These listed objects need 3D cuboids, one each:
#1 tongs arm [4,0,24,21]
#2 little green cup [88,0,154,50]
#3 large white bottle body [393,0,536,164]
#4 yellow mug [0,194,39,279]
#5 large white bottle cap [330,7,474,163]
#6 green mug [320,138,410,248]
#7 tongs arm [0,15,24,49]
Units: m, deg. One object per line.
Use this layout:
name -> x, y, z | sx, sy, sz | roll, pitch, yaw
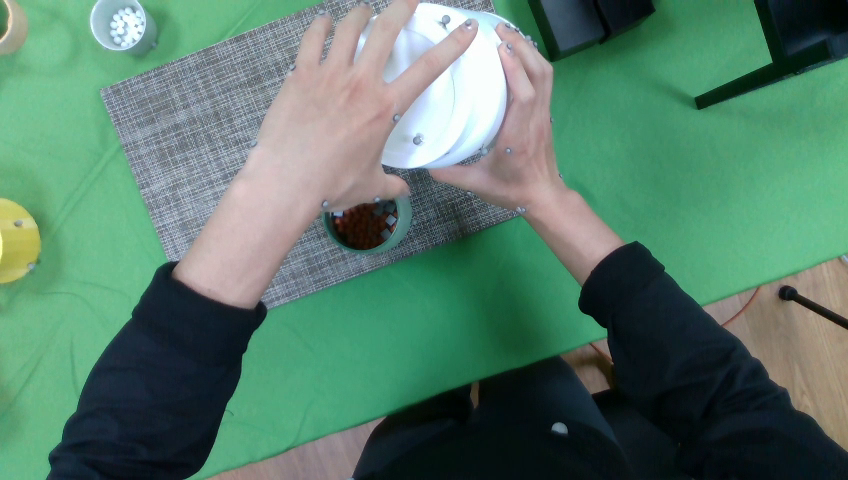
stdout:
tongs arm -> -0.602, -0.317, 0.636 | 0.387, 0.028, 0.028 | 22, 88, 1
little green cup -> -0.332, -0.241, 0.669 | 0.061, 0.038, 0.061 | 0, 95, 0
large white bottle body -> 0.017, -0.140, 0.535 | 0.130, 0.184, 0.131 | 8, 110, 22
yellow mug -> -0.503, 0.013, 0.677 | 0.100, 0.064, 0.131 | 12, 95, -1
large white bottle cap -> -0.018, -0.116, 0.460 | 0.114, 0.018, 0.115 | 8, 111, 22
green mug -> -0.064, -0.051, 0.645 | 0.092, 0.105, 0.125 | -4, 94, 2
tongs arm -> -0.620, -0.236, 0.640 | 0.385, 0.026, 0.051 | 8, 91, 2
